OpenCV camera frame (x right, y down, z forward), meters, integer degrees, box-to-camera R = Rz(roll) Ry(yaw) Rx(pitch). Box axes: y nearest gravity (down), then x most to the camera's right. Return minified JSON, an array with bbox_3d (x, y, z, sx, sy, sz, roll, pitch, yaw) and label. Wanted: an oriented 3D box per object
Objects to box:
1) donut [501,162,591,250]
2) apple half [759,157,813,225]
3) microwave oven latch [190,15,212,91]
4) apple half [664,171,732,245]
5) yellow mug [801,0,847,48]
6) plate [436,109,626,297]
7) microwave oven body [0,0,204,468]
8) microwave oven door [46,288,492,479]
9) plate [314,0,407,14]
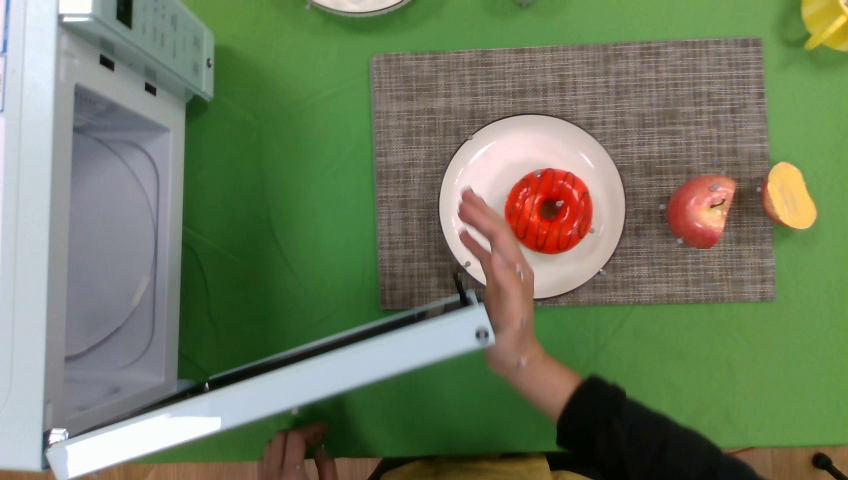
[{"bbox_3d":[0.135,-0.037,0.669,0.099,0.048,0.099,0,90,3],"label":"donut"},{"bbox_3d":[0.391,-0.050,0.670,0.082,0.033,0.081,9,71,-27],"label":"apple half"},{"bbox_3d":[-0.257,-0.212,0.686,0.030,0.029,0.079,3,89,2],"label":"microwave oven latch"},{"bbox_3d":[0.290,-0.038,0.658,0.053,0.075,0.081,17,93,7],"label":"apple half"},{"bbox_3d":[0.470,-0.260,0.663,0.131,0.064,0.100,-44,87,2],"label":"yellow mug"},{"bbox_3d":[0.117,-0.041,0.682,0.209,0.038,0.209,0,89,3],"label":"plate"},{"bbox_3d":[-0.413,-0.041,0.592,0.326,0.260,0.441,1,89,2],"label":"microwave oven body"},{"bbox_3d":[-0.113,0.120,0.571,0.356,0.244,0.039,-19,86,2],"label":"microwave oven door"},{"bbox_3d":[-0.071,-0.361,0.701,0.207,0.039,0.207,0,88,2],"label":"plate"}]
